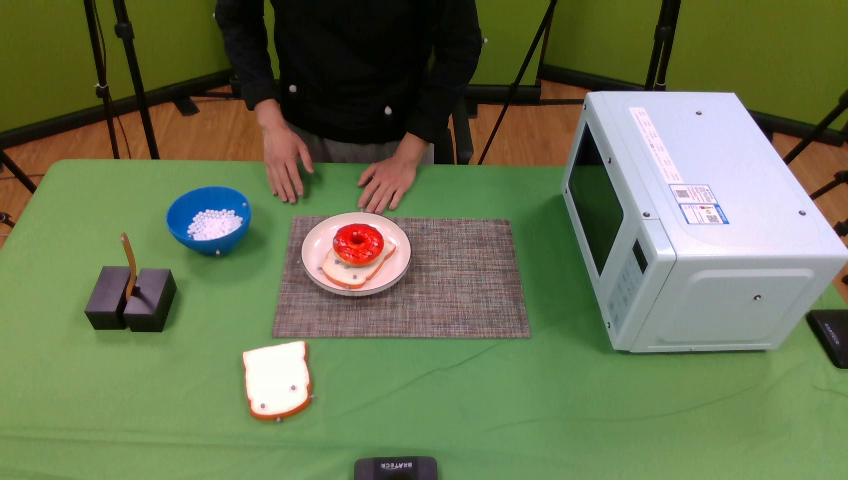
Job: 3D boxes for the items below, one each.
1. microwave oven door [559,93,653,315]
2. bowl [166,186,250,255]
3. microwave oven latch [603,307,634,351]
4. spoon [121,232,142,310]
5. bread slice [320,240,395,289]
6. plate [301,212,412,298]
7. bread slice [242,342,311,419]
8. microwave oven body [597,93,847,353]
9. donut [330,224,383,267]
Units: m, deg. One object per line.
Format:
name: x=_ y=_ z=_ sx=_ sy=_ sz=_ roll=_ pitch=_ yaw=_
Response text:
microwave oven door: x=0.327 y=-0.074 z=1.123 sx=0.039 sy=0.245 sz=0.353 roll=-1 pitch=46 yaw=-5
bowl: x=-0.403 y=-0.024 z=1.154 sx=0.151 sy=0.077 sz=0.150 roll=2 pitch=46 yaw=-2
microwave oven latch: x=0.332 y=0.153 z=1.044 sx=0.030 sy=0.029 sz=0.078 roll=0 pitch=45 yaw=-4
spoon: x=-0.479 y=0.051 z=0.994 sx=0.022 sy=0.194 sz=0.041 roll=13 pitch=46 yaw=-11
bread slice: x=-0.129 y=0.037 z=1.141 sx=0.107 sy=0.018 sz=0.134 roll=19 pitch=47 yaw=14
plate: x=-0.127 y=0.032 z=1.145 sx=0.208 sy=0.039 sz=0.206 roll=2 pitch=45 yaw=-2
bread slice: x=-0.234 y=0.223 z=0.970 sx=0.105 sy=0.019 sz=0.130 roll=-10 pitch=46 yaw=-12
microwave oven body: x=0.475 y=-0.041 z=1.109 sx=0.326 sy=0.261 sz=0.438 roll=-1 pitch=45 yaw=-4
donut: x=-0.125 y=0.010 z=1.127 sx=0.099 sy=0.048 sz=0.098 roll=3 pitch=45 yaw=-3
